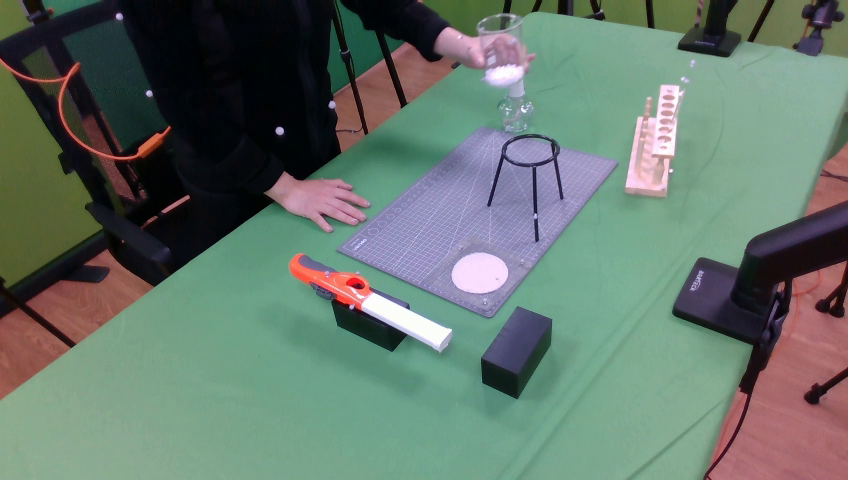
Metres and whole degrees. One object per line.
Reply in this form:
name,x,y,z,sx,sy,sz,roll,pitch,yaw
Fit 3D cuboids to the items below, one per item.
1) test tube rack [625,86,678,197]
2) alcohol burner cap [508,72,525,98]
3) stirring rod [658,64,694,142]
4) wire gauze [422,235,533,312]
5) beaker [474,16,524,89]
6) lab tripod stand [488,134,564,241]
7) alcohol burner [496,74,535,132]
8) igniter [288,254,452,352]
test tube rack,0.412,-0.184,1.088,0.066,0.085,0.242,9,43,18
alcohol burner cap,0.181,-0.306,1.186,0.034,0.048,0.033,-7,39,6
stirring rod,0.409,-0.213,1.000,0.006,0.176,0.014,37,57,25
wire gauze,0.081,0.049,0.914,0.120,0.011,0.125,26,52,32
beaker,0.130,-0.314,1.013,0.073,0.101,0.084,24,51,37
lab tripod stand,0.168,-0.092,0.972,0.148,0.132,0.147,-5,41,5
alcohol burner,0.183,-0.278,1.210,0.078,0.119,0.077,-3,42,4
igniter,-0.083,0.079,0.818,0.274,0.025,0.057,23,46,27
